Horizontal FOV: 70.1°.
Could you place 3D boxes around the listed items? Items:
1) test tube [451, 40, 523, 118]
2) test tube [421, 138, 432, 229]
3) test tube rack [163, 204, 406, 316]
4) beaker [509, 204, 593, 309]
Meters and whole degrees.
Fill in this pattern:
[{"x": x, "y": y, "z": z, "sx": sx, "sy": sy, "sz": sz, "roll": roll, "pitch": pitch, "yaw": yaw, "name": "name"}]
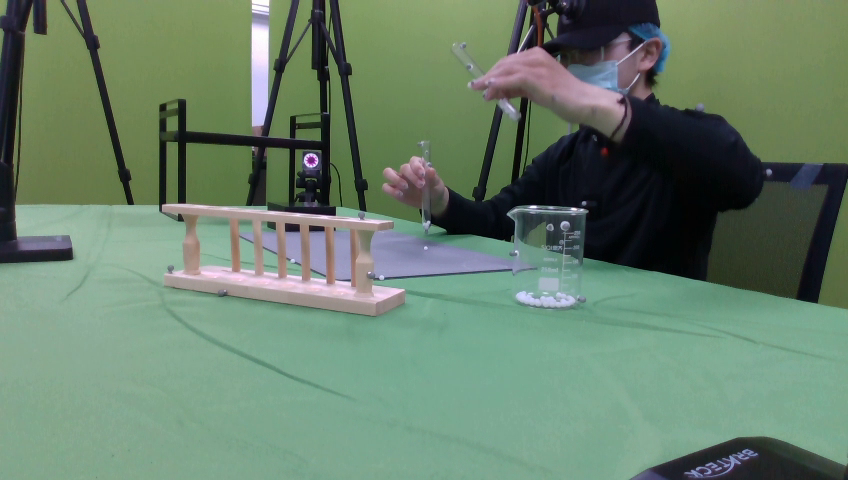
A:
[{"x": 0.084, "y": -0.219, "z": 0.819, "sx": 0.017, "sy": 0.017, "sz": 0.150, "roll": -8, "pitch": 55, "yaw": -53, "name": "test tube"}, {"x": 0.005, "y": -0.092, "z": 0.994, "sx": 0.017, "sy": 0.150, "sz": 0.017, "roll": -1, "pitch": 15, "yaw": 0, "name": "test tube"}, {"x": -0.141, "y": 0.013, "z": 0.601, "sx": 0.241, "sy": 0.085, "sz": 0.067, "roll": 5, "pitch": 8, "yaw": 21, "name": "test tube rack"}, {"x": 0.126, "y": 0.015, "z": 0.613, "sx": 0.084, "sy": 0.100, "sz": 0.074, "roll": 1, "pitch": 7, "yaw": -5, "name": "beaker"}]
